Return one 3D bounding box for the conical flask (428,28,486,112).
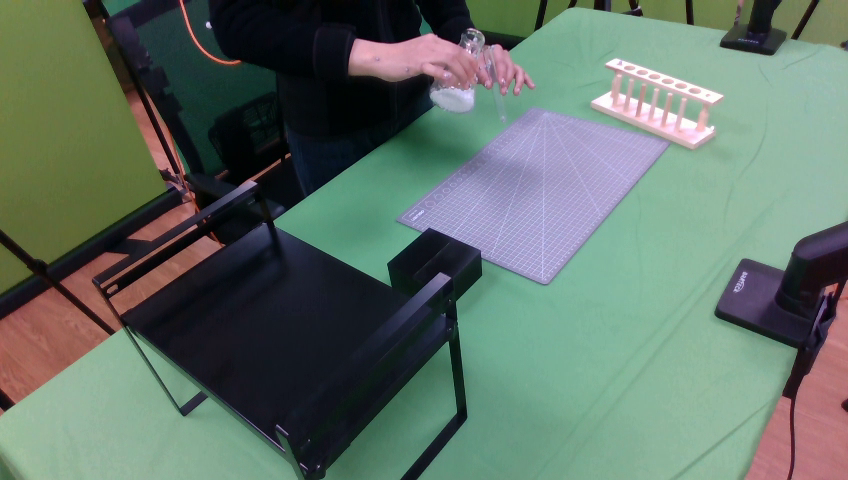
[{"bbox_3d":[0.060,-0.267,0.939,0.075,0.076,0.121,15,77,24],"label":"conical flask"}]

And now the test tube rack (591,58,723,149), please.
[{"bbox_3d":[0.442,-0.269,1.171,0.067,0.085,0.240,-30,46,-24],"label":"test tube rack"}]

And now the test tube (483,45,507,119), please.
[{"bbox_3d":[0.122,-0.265,1.030,0.017,0.151,0.017,-10,51,13],"label":"test tube"}]
